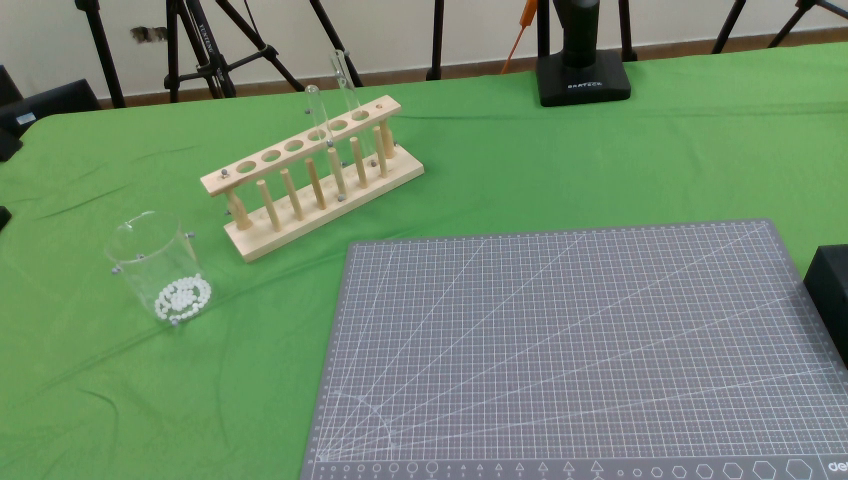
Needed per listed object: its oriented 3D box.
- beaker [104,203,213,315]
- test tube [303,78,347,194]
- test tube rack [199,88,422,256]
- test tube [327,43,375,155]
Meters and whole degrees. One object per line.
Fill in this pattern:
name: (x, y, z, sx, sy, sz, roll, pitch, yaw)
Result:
beaker: (-0.269, 0.021, 0.623, 0.083, 0.101, 0.074, 29, 56, 33)
test tube: (-0.109, -0.113, 0.675, 0.017, 0.152, 0.017, -5, 44, 6)
test tube rack: (-0.125, -0.084, 0.713, 0.242, 0.086, 0.066, -29, 48, -18)
test tube: (-0.084, -0.160, 0.711, 0.017, 0.152, 0.017, -8, 46, 9)
